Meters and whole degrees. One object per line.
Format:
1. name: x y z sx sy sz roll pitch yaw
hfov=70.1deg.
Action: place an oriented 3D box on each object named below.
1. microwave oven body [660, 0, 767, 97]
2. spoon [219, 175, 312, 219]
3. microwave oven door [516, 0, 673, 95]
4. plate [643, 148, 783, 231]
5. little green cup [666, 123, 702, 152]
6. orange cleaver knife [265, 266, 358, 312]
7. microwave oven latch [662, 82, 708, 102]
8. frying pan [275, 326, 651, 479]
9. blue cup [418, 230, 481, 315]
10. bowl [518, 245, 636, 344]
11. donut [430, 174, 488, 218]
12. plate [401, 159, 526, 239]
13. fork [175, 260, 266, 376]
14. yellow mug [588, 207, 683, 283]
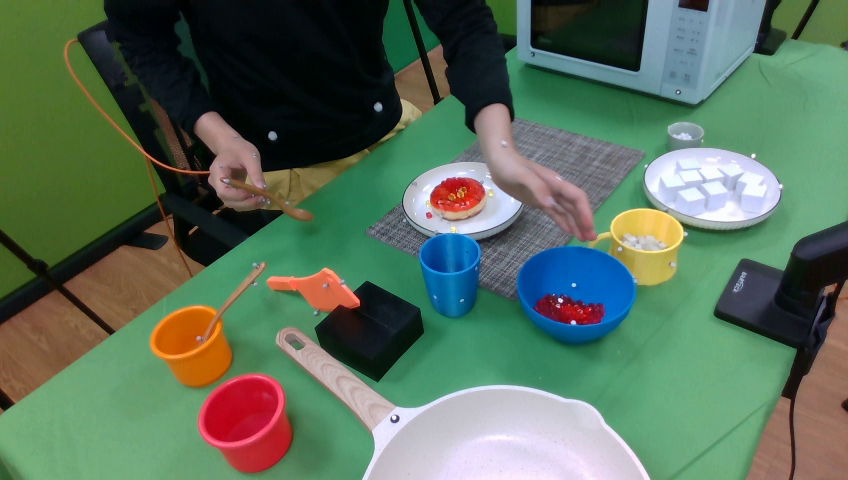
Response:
1. microwave oven body: 0.474 -0.517 1.313 0.438 0.261 0.327 26 51 34
2. spoon: -0.231 -0.064 0.894 0.041 0.195 0.021 32 89 30
3. microwave oven door: 0.344 -0.458 1.256 0.353 0.245 0.039 26 51 33
4. plate: 0.464 -0.079 0.985 0.207 0.039 0.206 -4 40 4
5. little green cup: 0.472 -0.183 1.102 0.061 0.039 0.061 -6 40 5
6. orange cleaver knife: -0.164 0.073 0.864 0.210 0.077 0.012 -6 30 50
7. microwave oven latch: 0.518 -0.298 1.203 0.078 0.029 0.030 28 53 35
8. frying pan: 0.004 0.229 0.641 0.484 0.103 0.308 34 54 28
9. blue cup: 0.038 0.052 0.844 0.092 0.100 0.092 -3 44 3
10. bowl: 0.200 0.084 0.802 0.151 0.077 0.150 -4 40 4
11. donut: 0.058 -0.076 1.015 0.099 0.048 0.098 -6 37 5
12. plate: 0.067 -0.065 1.019 0.209 0.038 0.208 -4 40 4
13. fork: -0.268 0.103 0.791 0.207 0.019 0.028 -51 38 16
14. yellow mug: 0.305 0.008 0.885 0.131 0.064 0.099 -4 42 5
